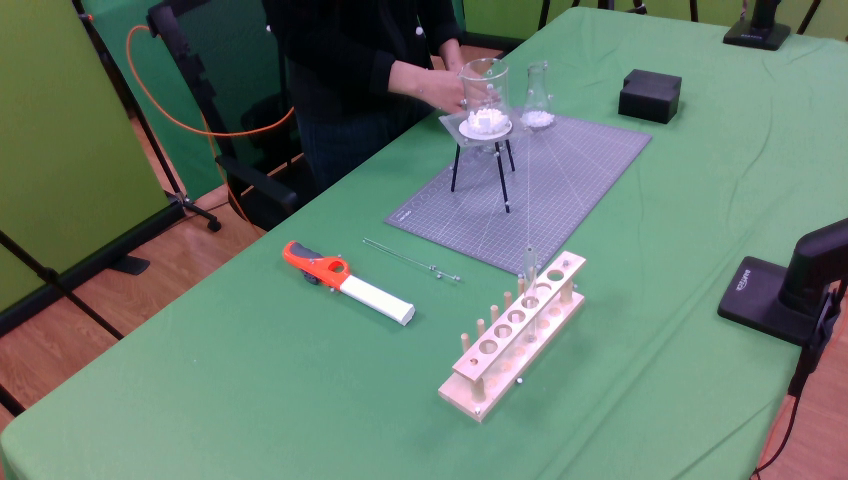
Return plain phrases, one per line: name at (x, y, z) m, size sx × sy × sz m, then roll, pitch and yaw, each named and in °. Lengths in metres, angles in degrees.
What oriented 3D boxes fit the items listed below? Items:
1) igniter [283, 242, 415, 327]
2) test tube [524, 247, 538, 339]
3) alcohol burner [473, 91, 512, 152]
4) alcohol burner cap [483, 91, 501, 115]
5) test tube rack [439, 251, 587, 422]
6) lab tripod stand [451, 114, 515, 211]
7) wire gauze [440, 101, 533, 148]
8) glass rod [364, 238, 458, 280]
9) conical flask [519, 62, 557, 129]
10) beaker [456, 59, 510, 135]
igniter at (-0.126, 0.062, 0.931) m, size 0.274 × 0.025 × 0.057 m, roll 24°, pitch 61°, yaw 33°
test tube at (0.133, 0.070, 0.749) m, size 0.017 × 0.151 × 0.017 m, roll -5°, pitch 38°, yaw 4°
alcohol burner at (0.132, -0.229, 1.154) m, size 0.078 × 0.119 × 0.077 m, roll -5°, pitch 38°, yaw 4°
alcohol burner cap at (0.127, -0.256, 1.131) m, size 0.034 × 0.048 × 0.033 m, roll -6°, pitch 47°, yaw 7°
test tube rack at (0.118, 0.111, 0.780) m, size 0.066 × 0.085 × 0.243 m, roll 26°, pitch 51°, yaw 35°
lab tripod stand at (0.113, -0.140, 1.037) m, size 0.148 × 0.132 × 0.147 m, roll -6°, pitch 38°, yaw 5°
wire gauze at (0.100, -0.189, 0.995) m, size 0.125 × 0.011 × 0.120 m, roll -16°, pitch 37°, yaw -6°
glass rod at (-0.026, 0.029, 0.966) m, size 0.198 × 0.008 × 0.008 m, roll 22°, pitch 49°, yaw 35°
conical flask at (0.225, -0.288, 1.198) m, size 0.075 × 0.122 × 0.075 m, roll -6°, pitch 40°, yaw 5°
beaker at (0.098, -0.226, 0.964) m, size 0.084 × 0.101 × 0.073 m, roll -7°, pitch 39°, yaw 4°
